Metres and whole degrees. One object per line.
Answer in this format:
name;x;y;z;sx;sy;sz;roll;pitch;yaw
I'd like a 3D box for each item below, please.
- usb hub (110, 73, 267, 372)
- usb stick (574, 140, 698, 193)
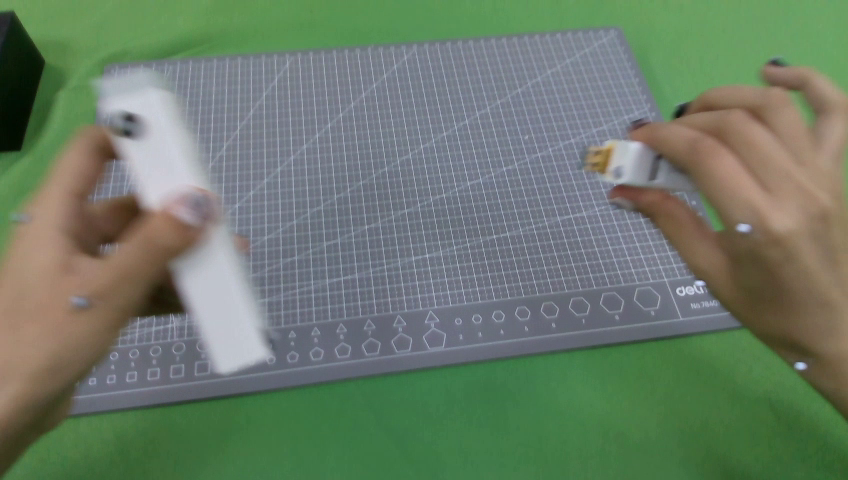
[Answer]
usb hub;-0.101;-0.007;0.268;0.025;0.126;0.049;-18;16;-10
usb stick;0.107;-0.039;0.312;0.059;0.027;0.021;7;99;-14
